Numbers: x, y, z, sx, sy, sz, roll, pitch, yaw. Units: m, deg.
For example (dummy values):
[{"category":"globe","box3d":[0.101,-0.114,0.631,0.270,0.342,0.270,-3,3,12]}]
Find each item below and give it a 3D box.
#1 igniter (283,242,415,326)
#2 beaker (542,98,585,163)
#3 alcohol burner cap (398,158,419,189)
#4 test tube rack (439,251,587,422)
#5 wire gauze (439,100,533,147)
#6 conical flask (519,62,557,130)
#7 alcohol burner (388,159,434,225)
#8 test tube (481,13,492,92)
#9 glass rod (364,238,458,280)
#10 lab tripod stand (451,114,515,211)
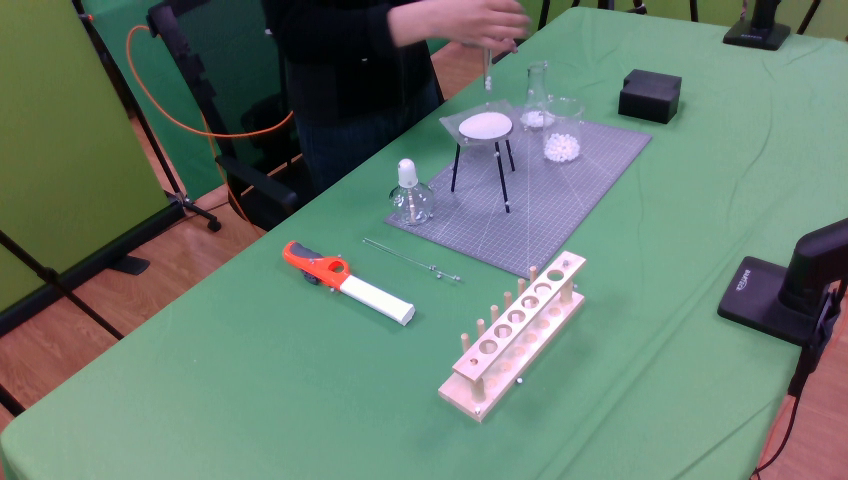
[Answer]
[{"category":"igniter","box3d":[-0.126,0.062,0.931,0.274,0.025,0.057,23,60,33]},{"category":"beaker","box3d":[0.255,-0.200,1.107,0.073,0.101,0.084,9,43,21]},{"category":"alcohol burner cap","box3d":[-0.027,-0.111,0.989,0.034,0.048,0.033,-3,46,4]},{"category":"test tube rack","box3d":[0.118,0.111,0.780,0.066,0.085,0.243,26,51,35]},{"category":"wire gauze","box3d":[0.100,-0.190,0.994,0.125,0.011,0.120,-15,39,-7]},{"category":"conical flask","box3d":[0.225,-0.287,1.198,0.075,0.122,0.075,-6,40,5]},{"category":"alcohol burner","box3d":[-0.023,-0.084,1.013,0.078,0.119,0.077,-4,38,4]},{"category":"test tube","box3d":[0.113,-0.334,1.090,0.017,0.151,0.017,-4,46,5]},{"category":"glass rod","box3d":[-0.026,0.029,0.966,0.198,0.008,0.008,21,49,35]},{"category":"lab tripod stand","box3d":[0.113,-0.140,1.037,0.148,0.132,0.147,-6,38,5]}]
